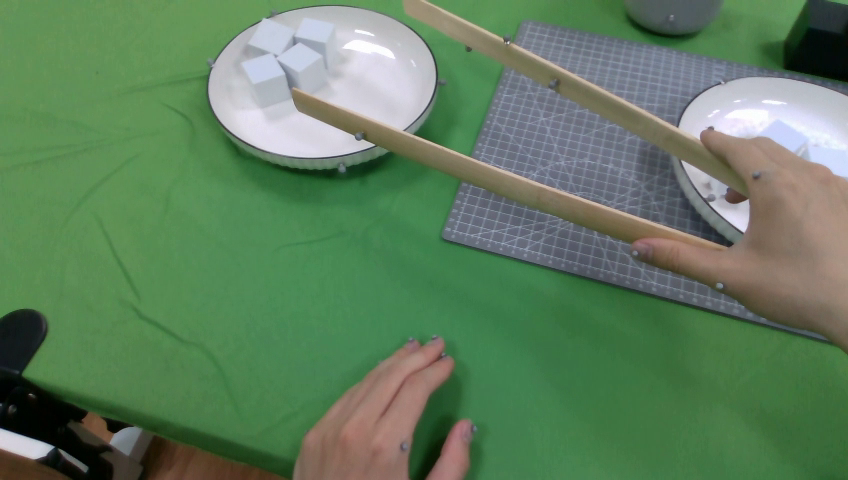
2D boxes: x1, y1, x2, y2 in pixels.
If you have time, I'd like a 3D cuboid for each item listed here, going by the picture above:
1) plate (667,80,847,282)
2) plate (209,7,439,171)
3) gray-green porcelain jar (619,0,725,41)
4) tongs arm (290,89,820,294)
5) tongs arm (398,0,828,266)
[{"bbox_3d":[0.306,-0.051,0.507,0.209,0.038,0.207,0,55,0],"label":"plate"},{"bbox_3d":[-0.090,-0.140,0.566,0.208,0.039,0.205,0,56,0],"label":"plate"},{"bbox_3d":[0.261,-0.278,0.612,0.106,0.127,0.105,0,55,0],"label":"gray-green porcelain jar"},{"bbox_3d":[0.063,-0.042,0.425,0.385,0.028,0.028,23,57,19],"label":"tongs arm"},{"bbox_3d":[0.109,-0.095,0.455,0.382,0.027,0.050,34,65,24],"label":"tongs arm"}]
